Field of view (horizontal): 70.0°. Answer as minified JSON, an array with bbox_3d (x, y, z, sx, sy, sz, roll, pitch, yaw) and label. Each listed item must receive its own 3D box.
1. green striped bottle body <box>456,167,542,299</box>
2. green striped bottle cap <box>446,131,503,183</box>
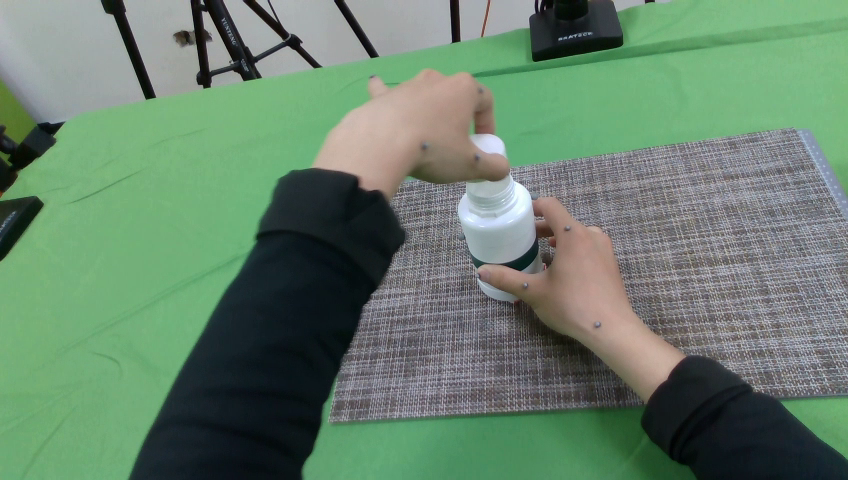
[{"bbox_3d":[0.065,-0.008,0.528,0.063,0.120,0.062,-10,45,10],"label":"green striped bottle body"},{"bbox_3d":[0.039,-0.065,0.472,0.044,0.020,0.044,-5,43,5],"label":"green striped bottle cap"}]
